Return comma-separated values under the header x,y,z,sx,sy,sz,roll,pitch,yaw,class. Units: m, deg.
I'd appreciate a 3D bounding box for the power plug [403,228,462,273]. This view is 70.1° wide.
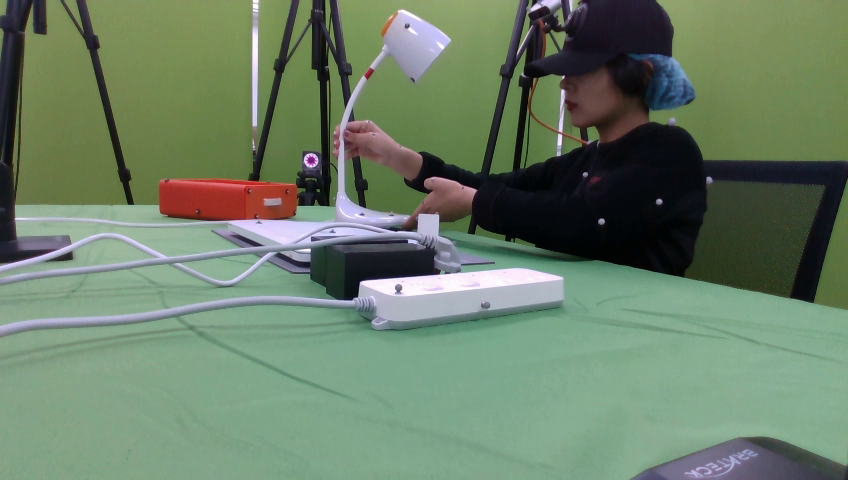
x,y,z,sx,sy,sz,roll,pitch,yaw,class
0.006,0.016,0.647,0.073,0.052,0.035,17,12,-6,power plug

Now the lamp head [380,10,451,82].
x,y,z,sx,sy,sz,roll,pitch,yaw,class
-0.027,-0.389,1.196,0.123,0.112,0.112,35,3,-10,lamp head

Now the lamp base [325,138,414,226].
x,y,z,sx,sy,sz,roll,pitch,yaw,class
-0.114,-0.117,1.218,0.180,0.180,0.160,-6,6,-14,lamp base

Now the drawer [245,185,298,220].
x,y,z,sx,sy,sz,roll,pitch,yaw,class
-0.416,-0.087,1.329,0.211,0.073,0.195,4,8,18,drawer

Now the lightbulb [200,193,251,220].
x,y,z,sx,sy,sz,roll,pitch,yaw,class
-0.433,-0.079,1.319,0.108,0.059,0.059,-17,13,-16,lightbulb

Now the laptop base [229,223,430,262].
x,y,z,sx,sy,sz,roll,pitch,yaw,class
-0.145,0.002,0.943,0.237,0.023,0.352,2,6,-32,laptop base

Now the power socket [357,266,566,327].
x,y,z,sx,sy,sz,roll,pitch,yaw,class
0.042,0.049,0.573,0.228,0.032,0.072,-3,8,-34,power socket

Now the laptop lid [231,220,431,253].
x,y,z,sx,sy,sz,roll,pitch,yaw,class
-0.142,-0.009,0.942,0.243,0.013,0.355,1,7,-31,laptop lid

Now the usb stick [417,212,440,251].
x,y,z,sx,sy,sz,roll,pitch,yaw,class
0.005,-0.003,0.721,0.027,0.059,0.021,0,-3,-3,usb stick

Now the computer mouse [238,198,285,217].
x,y,z,sx,sy,sz,roll,pitch,yaw,class
-0.354,-0.072,1.326,0.063,0.041,0.117,3,3,11,computer mouse

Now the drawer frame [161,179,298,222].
x,y,z,sx,sy,sz,roll,pitch,yaw,class
-0.420,-0.089,1.328,0.213,0.082,0.202,4,8,18,drawer frame
